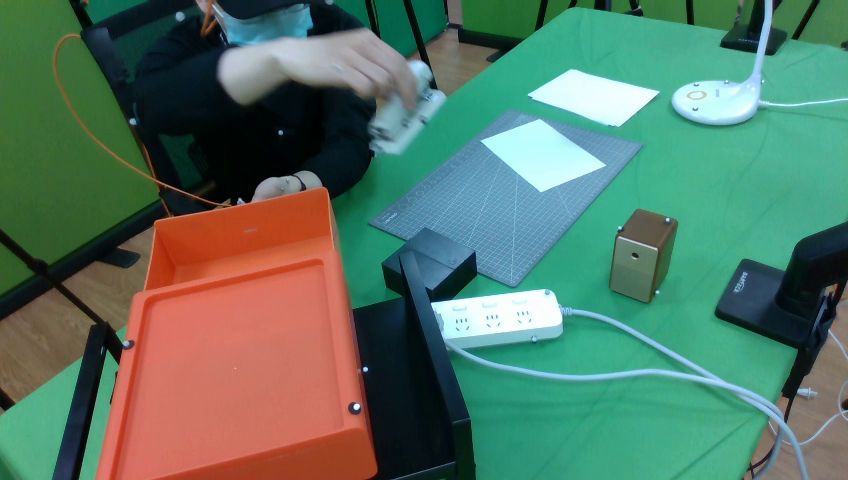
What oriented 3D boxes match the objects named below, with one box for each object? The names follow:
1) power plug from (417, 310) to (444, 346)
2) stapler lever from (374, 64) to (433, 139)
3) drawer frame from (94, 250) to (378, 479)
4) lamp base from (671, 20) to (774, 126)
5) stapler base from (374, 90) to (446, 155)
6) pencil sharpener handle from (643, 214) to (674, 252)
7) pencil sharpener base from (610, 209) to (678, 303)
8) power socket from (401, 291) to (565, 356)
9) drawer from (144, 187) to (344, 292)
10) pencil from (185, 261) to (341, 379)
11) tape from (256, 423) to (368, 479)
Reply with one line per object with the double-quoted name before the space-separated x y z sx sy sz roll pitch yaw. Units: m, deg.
"power plug" 0.006 0.122 0.785 0.035 0.053 0.072 0 40 9
"stapler lever" -0.025 -0.173 0.746 0.026 0.040 0.118 10 51 33
"drawer frame" -0.156 0.119 0.532 0.202 0.083 0.212 -12 41 -7
"lamp base" 0.581 -0.332 1.154 0.179 0.181 0.160 2 41 7
"stapler base" -0.018 -0.157 0.764 0.041 0.024 0.130 10 51 33
"pencil sharpener handle" 0.337 -0.016 0.857 0.035 0.068 0.031 0 35 44
"pencil sharpener base" 0.304 0.021 0.838 0.061 0.107 0.077 21 47 30
"power socket" 0.080 0.112 0.822 0.227 0.033 0.072 -6 41 0
"drawer" -0.182 0.048 0.624 0.195 0.073 0.210 -12 41 -6
"pencil" -0.158 0.077 0.622 0.012 0.012 0.194 29 54 35
"tape" -0.121 0.263 0.660 0.117 0.053 0.116 -5 39 4
